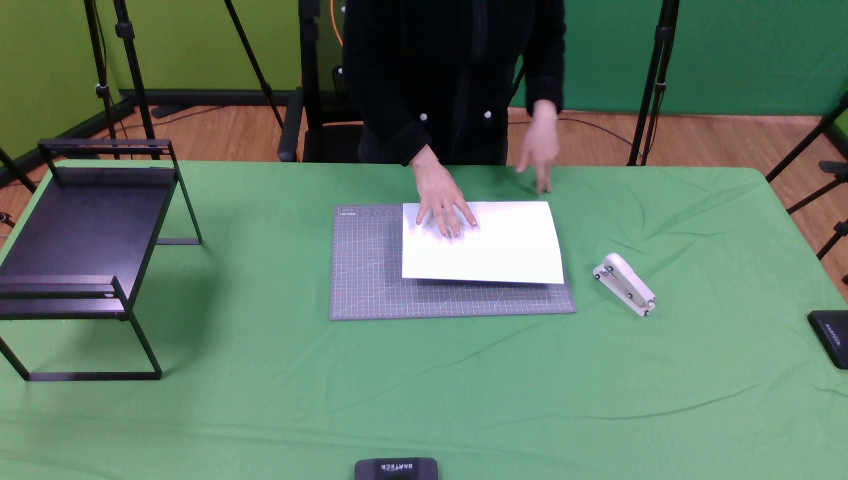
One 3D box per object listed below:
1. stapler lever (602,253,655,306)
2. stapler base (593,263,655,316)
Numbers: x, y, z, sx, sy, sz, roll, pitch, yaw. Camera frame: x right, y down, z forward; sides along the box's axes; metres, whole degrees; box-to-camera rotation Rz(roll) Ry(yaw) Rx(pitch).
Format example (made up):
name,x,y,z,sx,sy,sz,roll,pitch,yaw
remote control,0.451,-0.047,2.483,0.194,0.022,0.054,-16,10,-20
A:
name,x,y,z,sx,sy,sz,roll,pitch,yaw
stapler lever,0.379,0.070,1.123,0.027,0.040,0.117,-27,54,-23
stapler base,0.377,0.086,1.142,0.041,0.024,0.130,-27,55,-23
